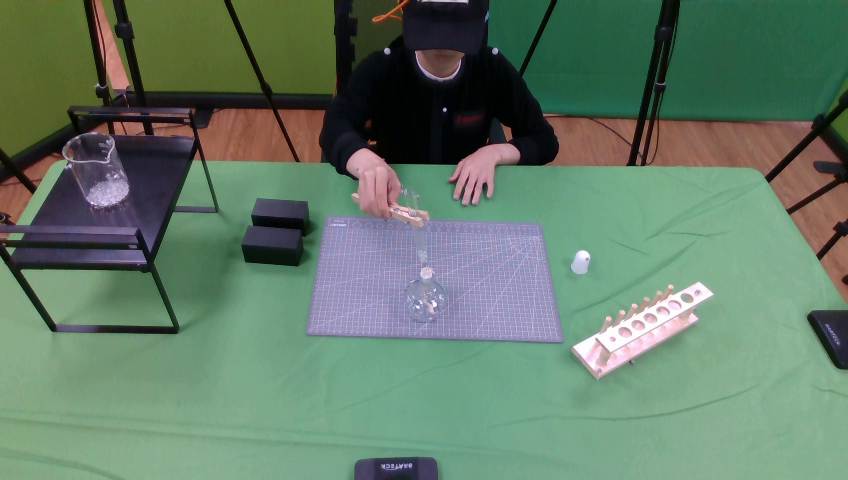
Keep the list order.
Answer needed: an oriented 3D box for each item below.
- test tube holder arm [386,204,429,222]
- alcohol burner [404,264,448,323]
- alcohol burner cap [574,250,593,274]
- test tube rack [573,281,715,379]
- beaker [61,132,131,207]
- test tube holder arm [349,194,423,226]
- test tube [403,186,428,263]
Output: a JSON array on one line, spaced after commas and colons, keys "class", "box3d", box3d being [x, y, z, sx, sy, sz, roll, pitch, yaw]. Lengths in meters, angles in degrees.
[{"class": "test tube holder arm", "box3d": [-0.029, -0.043, 0.940, 0.087, 0.015, 0.010, 13, 40, 38]}, {"class": "alcohol burner", "box3d": [0.003, 0.087, 1.042, 0.078, 0.120, 0.077, 1, 45, 0]}, {"class": "alcohol burner cap", "box3d": [0.308, 0.039, 1.163, 0.034, 0.048, 0.033, 1, 46, -1]}, {"class": "test tube rack", "box3d": [0.378, 0.140, 1.038, 0.242, 0.085, 0.066, -22, 51, -22]}, {"class": "beaker", "box3d": [-0.512, -0.107, 0.959, 0.083, 0.101, 0.074, 29, 51, 22]}, {"class": "test tube holder arm", "box3d": [-0.065, -0.050, 0.967, 0.013, 0.015, 0.177, -35, 36, -32]}, {"class": "test tube", "box3d": [-0.012, -0.020, 0.936, 0.017, 0.151, 0.017, -7, 42, 6]}]
